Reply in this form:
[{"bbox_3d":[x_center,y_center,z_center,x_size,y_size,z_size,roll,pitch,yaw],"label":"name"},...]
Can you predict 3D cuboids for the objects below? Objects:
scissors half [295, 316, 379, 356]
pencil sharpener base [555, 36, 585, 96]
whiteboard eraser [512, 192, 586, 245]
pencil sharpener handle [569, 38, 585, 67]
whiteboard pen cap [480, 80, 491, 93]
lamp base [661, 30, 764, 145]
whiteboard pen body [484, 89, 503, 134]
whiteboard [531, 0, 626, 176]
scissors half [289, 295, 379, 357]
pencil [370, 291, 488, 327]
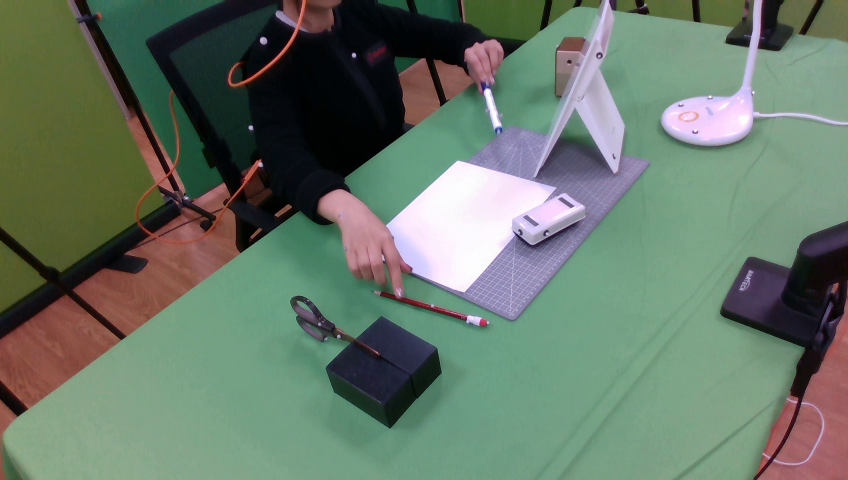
[{"bbox_3d":[-0.119,0.131,0.813,0.173,0.040,0.013,9,34,45],"label":"scissors half"},{"bbox_3d":[0.317,-0.371,1.290,0.061,0.107,0.076,10,44,22],"label":"pencil sharpener base"},{"bbox_3d":[0.199,-0.032,0.962,0.113,0.042,0.055,-27,43,-20],"label":"whiteboard eraser"},{"bbox_3d":[0.332,-0.413,1.317,0.036,0.068,0.030,19,46,13],"label":"pencil sharpener handle"},{"bbox_3d":[0.124,-0.303,1.204,0.018,0.018,0.033,-9,51,0],"label":"whiteboard pen cap"},{"bbox_3d":[0.535,-0.287,1.096,0.179,0.181,0.159,-10,40,-4],"label":"lamp base"},{"bbox_3d":[0.131,-0.257,1.169,0.017,0.017,0.140,-9,53,0],"label":"whiteboard pen body"},{"bbox_3d":[0.321,-0.258,1.050,0.144,0.306,0.217,22,45,5],"label":"whiteboard"},{"bbox_3d":[-0.122,0.114,0.803,0.174,0.040,0.013,26,50,32],"label":"scissors half"},{"bbox_3d":[0.003,0.097,0.877,0.193,0.012,0.012,13,45,25],"label":"pencil"}]
